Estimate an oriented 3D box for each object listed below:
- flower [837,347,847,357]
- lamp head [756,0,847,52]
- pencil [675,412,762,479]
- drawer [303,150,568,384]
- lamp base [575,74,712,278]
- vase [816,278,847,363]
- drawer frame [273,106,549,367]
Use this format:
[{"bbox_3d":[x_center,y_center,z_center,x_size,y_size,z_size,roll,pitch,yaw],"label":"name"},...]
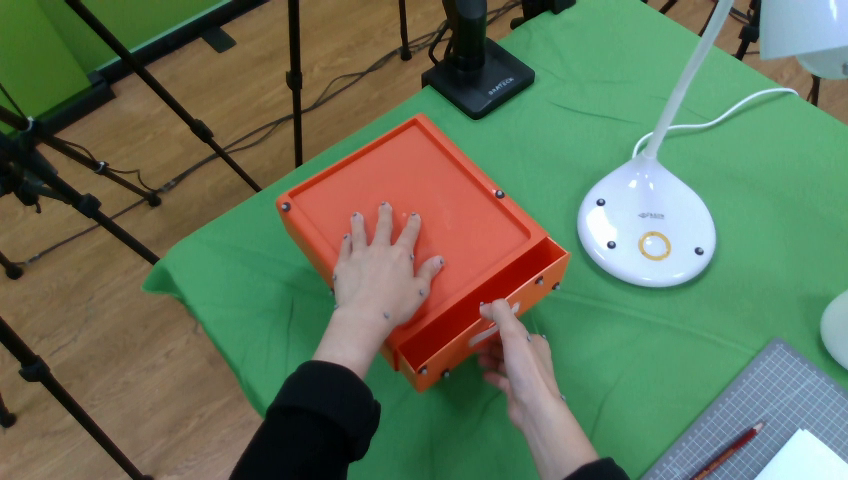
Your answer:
[{"bbox_3d":[0.478,0.001,0.506,0.038,0.364,0.044,32,47,12],"label":"flower"},{"bbox_3d":[0.274,-0.192,0.398,0.112,0.112,0.123,-13,97,-6],"label":"lamp head"},{"bbox_3d":[0.261,0.221,0.585,0.194,0.012,0.012,-30,62,-17],"label":"pencil"},{"bbox_3d":[0.004,0.008,0.630,0.194,0.074,0.210,-35,64,-17],"label":"drawer"},{"bbox_3d":[0.257,-0.076,0.667,0.161,0.182,0.177,-6,56,-2],"label":"lamp base"},{"bbox_3d":[0.463,0.050,0.573,0.098,0.202,0.097,-1,57,2],"label":"vase"},{"bbox_3d":[-0.016,-0.010,0.646,0.201,0.083,0.212,-35,67,-17],"label":"drawer frame"}]
